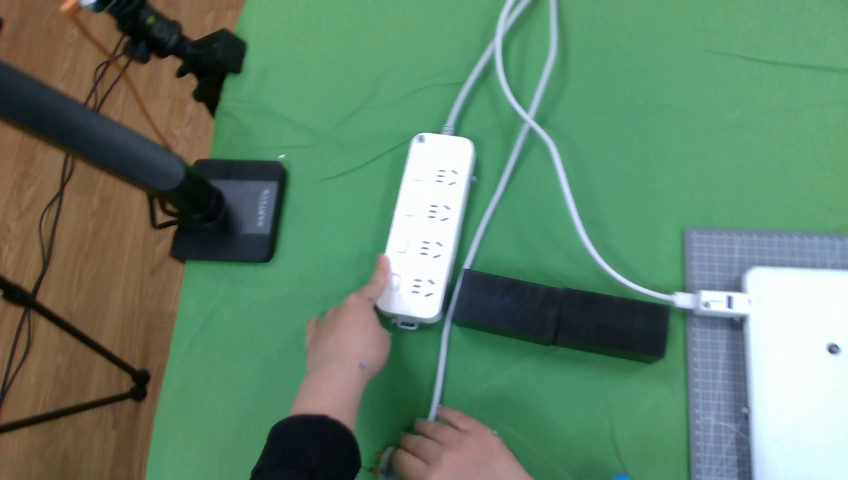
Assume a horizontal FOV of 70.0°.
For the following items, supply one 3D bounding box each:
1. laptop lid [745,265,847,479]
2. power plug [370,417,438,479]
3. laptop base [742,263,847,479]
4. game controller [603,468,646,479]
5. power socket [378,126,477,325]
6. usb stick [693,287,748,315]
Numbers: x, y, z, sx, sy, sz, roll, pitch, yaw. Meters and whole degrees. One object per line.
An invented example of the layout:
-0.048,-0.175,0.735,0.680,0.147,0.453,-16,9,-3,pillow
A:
0.482,0.146,0.551,0.356,0.013,0.240,5,76,8,laptop lid
-0.018,0.208,0.601,0.052,0.072,0.035,-3,108,32,power plug
0.484,0.146,0.563,0.354,0.023,0.234,3,77,7,laptop base
0.161,0.278,0.543,0.155,0.052,0.096,-34,70,-5,game controller
0.006,-0.022,0.657,0.072,0.033,0.225,10,74,9,power socket
0.299,0.061,0.596,0.059,0.027,0.021,6,73,3,usb stick
